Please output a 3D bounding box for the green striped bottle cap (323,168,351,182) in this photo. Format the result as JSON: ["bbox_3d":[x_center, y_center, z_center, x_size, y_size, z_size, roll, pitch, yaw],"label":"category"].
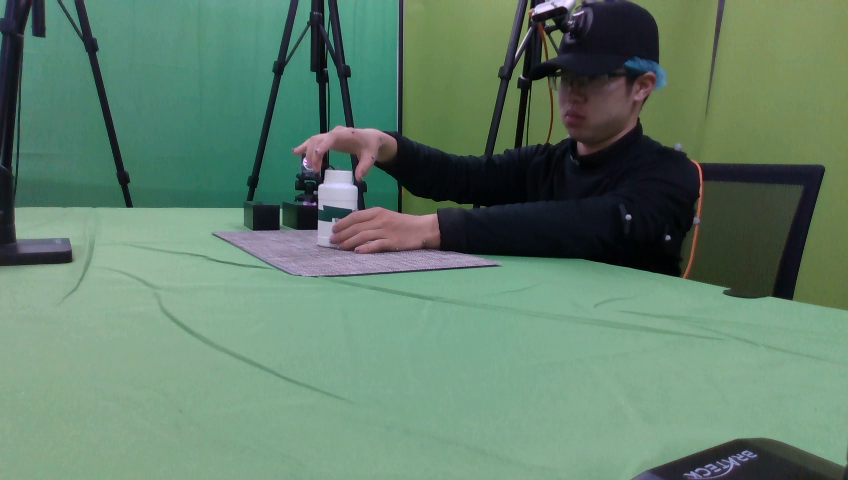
[{"bbox_3d":[-0.137,-0.103,0.957,0.044,0.020,0.044,5,7,0],"label":"green striped bottle cap"}]

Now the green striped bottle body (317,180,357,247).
[{"bbox_3d":[-0.139,-0.051,0.964,0.063,0.119,0.063,2,7,0],"label":"green striped bottle body"}]
